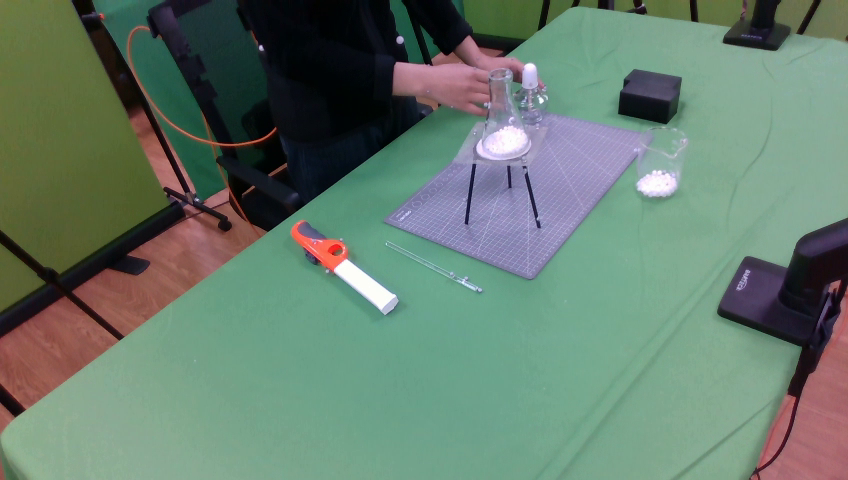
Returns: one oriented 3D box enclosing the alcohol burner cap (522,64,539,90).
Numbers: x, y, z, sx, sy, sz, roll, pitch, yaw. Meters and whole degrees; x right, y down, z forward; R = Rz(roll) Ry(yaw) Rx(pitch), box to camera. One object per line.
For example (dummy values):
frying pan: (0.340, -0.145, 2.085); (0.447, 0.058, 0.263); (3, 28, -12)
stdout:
alcohol burner cap: (0.210, -0.324, 1.195); (0.034, 0.048, 0.033); (-6, 45, 7)

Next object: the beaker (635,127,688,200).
beaker: (0.388, -0.122, 0.994); (0.074, 0.101, 0.083); (-8, 40, 2)

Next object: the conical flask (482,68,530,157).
conical flask: (0.118, -0.192, 0.902); (0.075, 0.122, 0.075); (-7, 39, 6)

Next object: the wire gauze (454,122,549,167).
wire gauze: (0.122, -0.149, 0.943); (0.121, 0.011, 0.125); (7, 44, 22)

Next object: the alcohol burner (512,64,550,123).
alcohol burner: (0.215, -0.298, 1.220); (0.078, 0.120, 0.077); (-7, 40, 7)

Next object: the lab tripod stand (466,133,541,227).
lab tripod stand: (0.129, -0.099, 0.985); (0.148, 0.132, 0.147); (-6, 38, 6)

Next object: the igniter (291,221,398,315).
igniter: (-0.136, 0.037, 0.962); (0.057, 0.025, 0.274); (-41, 48, -18)

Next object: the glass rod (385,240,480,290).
glass rod: (0.009, 0.037, 0.950); (0.198, 0.008, 0.008); (26, 52, 35)
